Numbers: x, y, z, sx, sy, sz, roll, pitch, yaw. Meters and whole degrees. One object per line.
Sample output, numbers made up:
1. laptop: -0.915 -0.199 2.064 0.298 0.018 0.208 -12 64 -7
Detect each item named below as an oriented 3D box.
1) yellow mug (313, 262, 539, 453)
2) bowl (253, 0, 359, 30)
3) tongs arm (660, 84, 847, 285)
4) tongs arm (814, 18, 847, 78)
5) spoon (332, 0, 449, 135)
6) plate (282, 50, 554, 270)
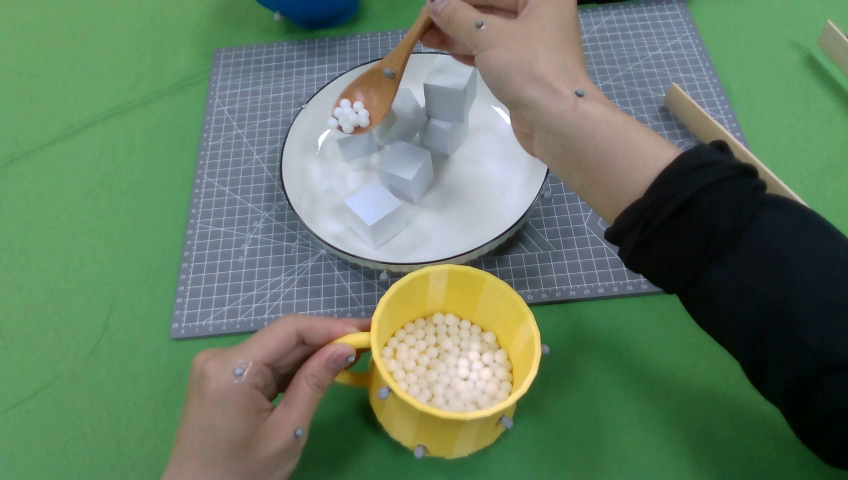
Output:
1. yellow mug: -0.001 0.072 0.369 0.131 0.064 0.099 -1 54 -8
2. bowl: -0.107 -0.257 0.580 0.151 0.077 0.150 -3 59 5
3. tongs arm: 0.299 0.016 0.412 0.028 0.028 0.384 -29 62 -14
4. tongs arm: 0.374 -0.016 0.420 0.051 0.027 0.381 -18 61 -5
5. spoon: 0.001 -0.142 0.398 0.194 0.022 0.041 -45 63 29
6. plate: -0.005 -0.064 0.477 0.207 0.039 0.206 -2 59 4
